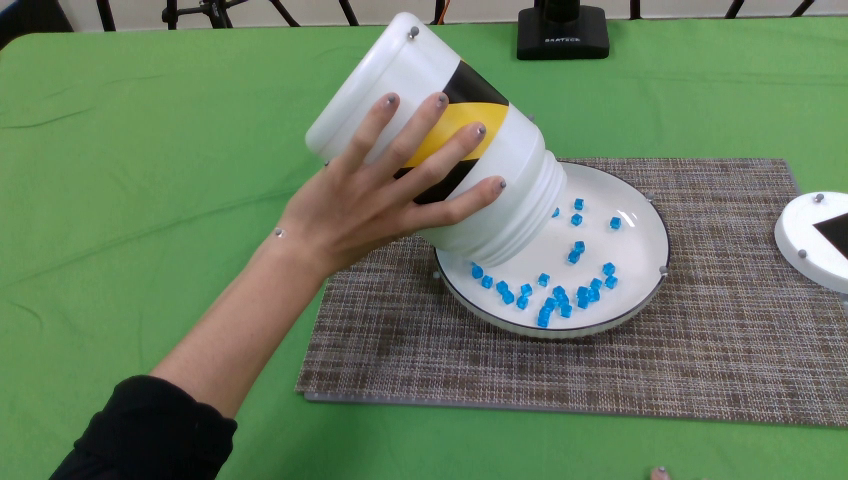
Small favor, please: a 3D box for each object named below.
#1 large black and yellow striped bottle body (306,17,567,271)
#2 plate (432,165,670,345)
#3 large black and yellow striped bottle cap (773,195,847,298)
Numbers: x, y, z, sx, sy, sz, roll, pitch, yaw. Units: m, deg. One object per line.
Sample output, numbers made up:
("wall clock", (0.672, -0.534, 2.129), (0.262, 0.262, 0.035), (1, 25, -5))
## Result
("large black and yellow striped bottle body", (0.013, -0.070, 0.492), (0.185, 0.131, 0.130), (38, 50, -15))
("plate", (0.112, 0.012, 0.551), (0.207, 0.039, 0.205), (-3, 47, 4))
("large black and yellow striped bottle cap", (0.378, 0.003, 0.544), (0.115, 0.019, 0.114), (-1, 48, 1))
